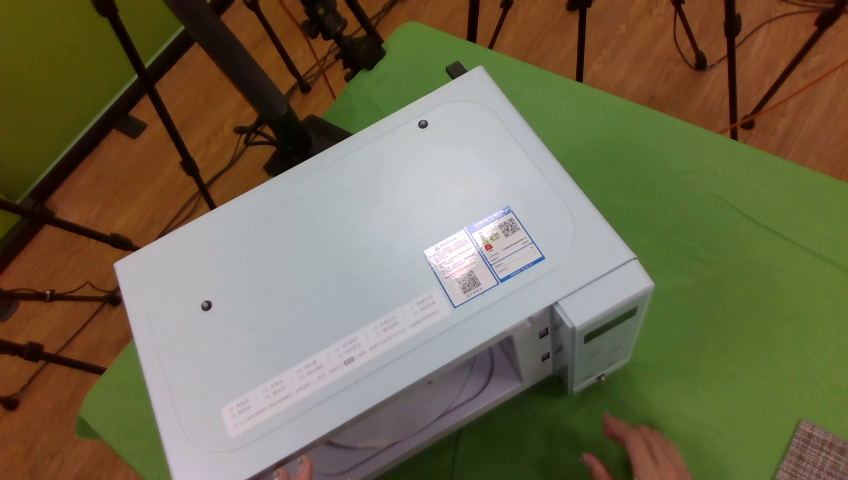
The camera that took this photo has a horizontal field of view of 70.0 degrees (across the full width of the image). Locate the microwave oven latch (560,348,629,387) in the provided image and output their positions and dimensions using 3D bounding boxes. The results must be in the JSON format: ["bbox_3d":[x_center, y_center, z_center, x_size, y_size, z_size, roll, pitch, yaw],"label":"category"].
[{"bbox_3d":[0.196,0.137,0.698,0.079,0.030,0.030,-28,62,-2],"label":"microwave oven latch"}]

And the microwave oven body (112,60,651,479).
[{"bbox_3d":[-0.044,0.070,0.673,0.442,0.262,0.322,-30,62,-3],"label":"microwave oven body"}]
